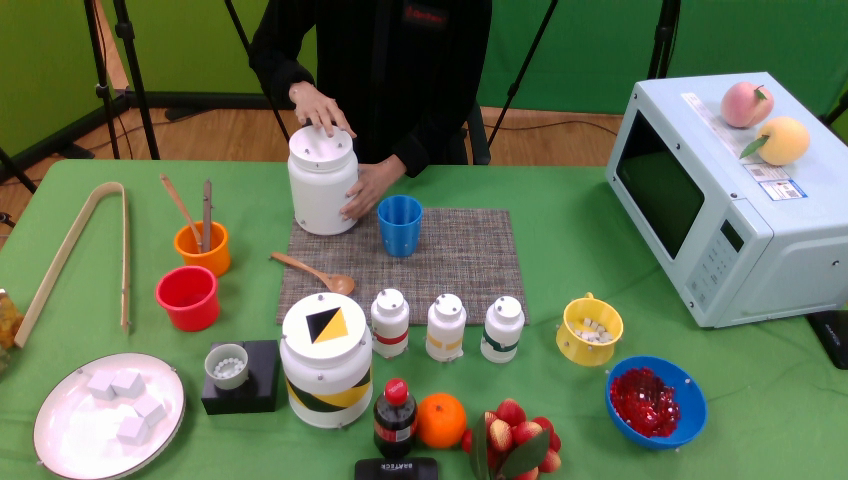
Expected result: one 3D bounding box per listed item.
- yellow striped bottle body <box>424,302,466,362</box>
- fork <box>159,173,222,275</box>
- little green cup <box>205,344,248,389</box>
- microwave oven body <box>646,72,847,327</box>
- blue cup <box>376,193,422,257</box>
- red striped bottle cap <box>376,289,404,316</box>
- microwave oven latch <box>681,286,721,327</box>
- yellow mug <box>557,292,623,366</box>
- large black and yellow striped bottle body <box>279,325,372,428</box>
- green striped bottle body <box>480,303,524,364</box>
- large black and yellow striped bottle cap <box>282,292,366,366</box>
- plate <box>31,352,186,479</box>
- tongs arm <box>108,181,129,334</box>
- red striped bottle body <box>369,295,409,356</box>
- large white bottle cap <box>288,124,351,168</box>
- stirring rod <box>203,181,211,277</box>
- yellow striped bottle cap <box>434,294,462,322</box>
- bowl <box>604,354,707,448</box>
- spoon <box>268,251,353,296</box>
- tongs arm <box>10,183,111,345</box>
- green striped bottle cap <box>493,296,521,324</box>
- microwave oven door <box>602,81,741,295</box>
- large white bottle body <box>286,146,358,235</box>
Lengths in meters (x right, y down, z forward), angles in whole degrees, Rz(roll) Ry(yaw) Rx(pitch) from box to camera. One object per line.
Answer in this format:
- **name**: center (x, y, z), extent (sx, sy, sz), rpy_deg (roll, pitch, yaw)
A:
- **yellow striped bottle body**: center (0.035, 0.143, 0.995), extent (0.063, 0.121, 0.062), rpy_deg (3, 46, -3)
- **fork**: center (-0.427, -0.029, 1.103), extent (0.028, 0.018, 0.207), rpy_deg (-31, 99, -31)
- **little green cup**: center (-0.294, 0.191, 0.909), extent (0.061, 0.039, 0.061), rpy_deg (1, 47, -1)
- **microwave oven body**: center (0.607, -0.089, 1.164), extent (0.326, 0.261, 0.438), rpy_deg (-7, 46, -10)
- **blue cup**: center (-0.047, -0.022, 1.155), extent (0.093, 0.101, 0.092), rpy_deg (1, 47, -1)
- **red striped bottle cap**: center (-0.055, 0.098, 0.958), extent (0.044, 0.018, 0.044), rpy_deg (0, 47, 0)
- **microwave oven latch**: center (0.494, 0.119, 1.086), extent (0.030, 0.029, 0.078), rpy_deg (-5, 46, -9)
- **yellow mug**: center (0.285, 0.145, 1.051), extent (0.100, 0.064, 0.130), rpy_deg (7, 46, 4)
- **large black and yellow striped bottle body**: center (-0.143, 0.181, 0.900), extent (0.131, 0.185, 0.130), rpy_deg (2, 46, -2)
- **green striped bottle body**: center (0.129, 0.147, 1.000), extent (0.063, 0.120, 0.063), rpy_deg (2, 46, -2)
- **large black and yellow striped bottle cap**: center (-0.138, 0.121, 0.841), extent (0.115, 0.019, 0.114), rpy_deg (3, 47, -3)
- **plate**: center (-0.459, 0.262, 0.898), extent (0.209, 0.038, 0.208), rpy_deg (2, 46, -2)
- **tongs arm**: center (-0.571, 0.019, 1.123), extent (0.051, 0.026, 0.382), rpy_deg (-10, 47, -12)
- **red striped bottle body**: center (-0.059, 0.134, 0.997), extent (0.063, 0.120, 0.062), rpy_deg (5, 48, -5)
- **large white bottle cap**: center (-0.191, -0.173, 1.111), extent (0.115, 0.018, 0.114), rpy_deg (2, 46, -2)
- **stirring rod**: center (-0.396, -0.021, 1.107), extent (0.014, 0.006, 0.176), rpy_deg (-1, 89, -1)
- **yellow striped bottle cap**: center (0.038, 0.107, 0.958), extent (0.044, 0.019, 0.044), rpy_deg (2, 45, -2)
- **bowl**: center (0.346, 0.261, 0.937), extent (0.151, 0.077, 0.150), rpy_deg (2, 46, -2)
- **spoon**: center (-0.212, 0.057, 1.121), extent (0.193, 0.022, 0.041), rpy_deg (24, 74, 18)
- **tongs arm**: center (-0.658, 0.027, 1.109), extent (0.028, 0.028, 0.385), rpy_deg (-2, 45, 1)
- **green striped bottle cap**: center (0.133, 0.111, 0.962), extent (0.044, 0.020, 0.044), rpy_deg (2, 47, -2)
- **microwave oven door**: center (0.456, -0.107, 1.162), extent (0.039, 0.245, 0.353), rpy_deg (-7, 47, -11)
- **large white bottle body**: center (-0.196, -0.114, 1.173), extent (0.131, 0.185, 0.130), rpy_deg (2, 47, -2)
